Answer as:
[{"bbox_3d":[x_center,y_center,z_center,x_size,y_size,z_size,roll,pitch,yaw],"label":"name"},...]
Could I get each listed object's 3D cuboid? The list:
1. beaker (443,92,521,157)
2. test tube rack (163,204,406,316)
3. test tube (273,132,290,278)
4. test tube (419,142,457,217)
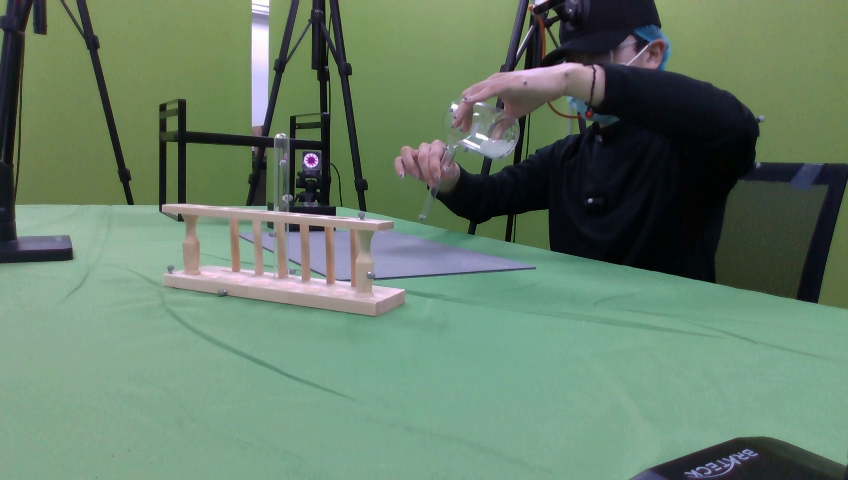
[{"bbox_3d":[0.085,-0.165,0.885,0.074,0.084,0.100,17,12,-42],"label":"beaker"},{"bbox_3d":[-0.141,0.013,0.601,0.241,0.085,0.067,5,8,21],"label":"test tube rack"},{"bbox_3d":[-0.146,-0.034,0.617,0.017,0.150,0.017,2,8,0],"label":"test tube"},{"bbox_3d":[0.021,-0.093,0.971,0.017,0.150,0.017,14,40,-12],"label":"test tube"}]
